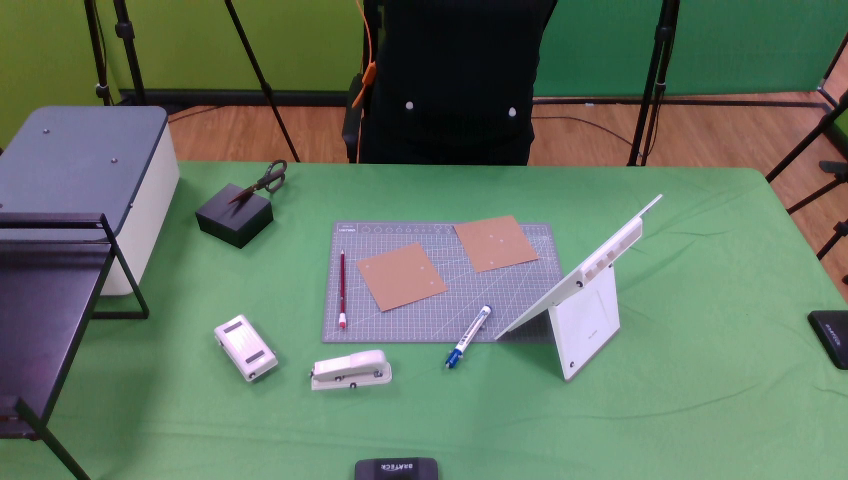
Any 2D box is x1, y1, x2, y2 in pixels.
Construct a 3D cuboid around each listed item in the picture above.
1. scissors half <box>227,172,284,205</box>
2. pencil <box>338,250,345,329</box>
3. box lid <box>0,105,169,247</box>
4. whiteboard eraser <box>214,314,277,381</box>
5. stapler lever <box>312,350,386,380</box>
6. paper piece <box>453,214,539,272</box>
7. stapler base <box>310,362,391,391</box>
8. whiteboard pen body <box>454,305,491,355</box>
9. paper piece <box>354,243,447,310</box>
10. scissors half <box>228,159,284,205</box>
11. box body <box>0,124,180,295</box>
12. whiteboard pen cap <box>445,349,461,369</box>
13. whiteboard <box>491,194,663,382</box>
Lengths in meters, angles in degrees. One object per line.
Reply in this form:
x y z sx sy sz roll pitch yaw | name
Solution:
-0.339 -0.101 1.230 0.013 0.040 0.175 18 27 18 | scissors half
-0.152 0.085 1.108 0.012 0.012 0.192 -2 44 -7 | pencil
-0.624 -0.125 1.067 0.263 0.015 0.369 0 46 -3 | box lid
-0.292 0.176 0.990 0.055 0.042 0.112 -30 55 -31 | whiteboard eraser
-0.120 0.198 0.963 0.118 0.040 0.026 -4 44 -8 | stapler lever
0.142 0.003 1.213 0.135 0.004 0.135 -11 48 -14 | paper piece
-0.119 0.215 0.981 0.131 0.024 0.041 -5 44 -7 | stapler base
0.079 0.163 1.047 0.017 0.017 0.140 25 50 19 | whiteboard pen body
-0.045 0.066 1.137 0.136 0.009 0.137 -13 47 -22 | paper piece
-0.337 -0.117 1.218 0.013 0.040 0.174 22 45 15 | scissors half
-0.628 -0.075 1.122 0.254 0.161 0.361 1 46 -4 | box body
0.049 0.197 1.011 0.018 0.018 0.033 24 49 17 | whiteboard pen cap
0.280 0.100 0.969 0.217 0.306 0.143 -33 77 -31 | whiteboard
